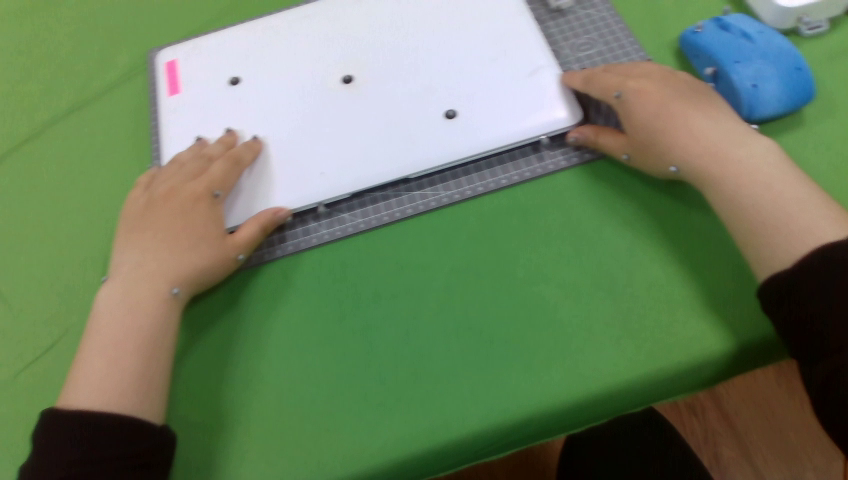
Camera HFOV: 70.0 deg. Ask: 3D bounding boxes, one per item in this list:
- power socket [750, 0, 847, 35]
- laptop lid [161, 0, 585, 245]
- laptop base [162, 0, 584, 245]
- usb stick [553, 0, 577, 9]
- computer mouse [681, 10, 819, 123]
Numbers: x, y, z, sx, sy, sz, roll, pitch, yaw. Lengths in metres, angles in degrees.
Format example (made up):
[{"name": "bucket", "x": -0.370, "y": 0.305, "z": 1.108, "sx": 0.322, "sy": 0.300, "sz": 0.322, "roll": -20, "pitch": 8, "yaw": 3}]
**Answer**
[{"name": "power socket", "x": 0.312, "y": -0.277, "z": 0.559, "sx": 0.072, "sy": 0.033, "sz": 0.224, "roll": -15, "pitch": 59, "yaw": 2}, {"name": "laptop lid", "x": -0.064, "y": -0.141, "z": 0.541, "sx": 0.357, "sy": 0.013, "sz": 0.239, "roll": -16, "pitch": 61, "yaw": 1}, {"name": "laptop base", "x": -0.062, "y": -0.137, "z": 0.552, "sx": 0.354, "sy": 0.023, "sz": 0.233, "roll": -17, "pitch": 62, "yaw": 0}, {"name": "usb stick", "x": 0.127, "y": -0.250, "z": 0.577, "sx": 0.021, "sy": 0.027, "sz": 0.058, "roll": -16, "pitch": 56, "yaw": 4}, {"name": "computer mouse", "x": 0.262, "y": -0.148, "z": 0.491, "sx": 0.063, "sy": 0.041, "sz": 0.116, "roll": -18, "pitch": 54, "yaw": 2}]
